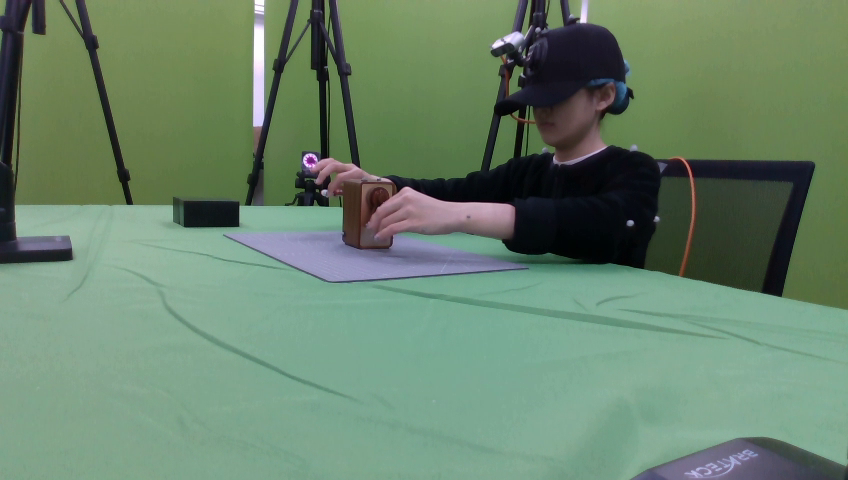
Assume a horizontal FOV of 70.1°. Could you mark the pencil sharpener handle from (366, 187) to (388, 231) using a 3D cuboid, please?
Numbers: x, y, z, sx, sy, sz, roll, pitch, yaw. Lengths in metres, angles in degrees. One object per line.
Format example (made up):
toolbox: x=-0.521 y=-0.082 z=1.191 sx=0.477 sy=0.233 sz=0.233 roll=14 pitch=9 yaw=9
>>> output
pencil sharpener handle: x=-0.068 y=-0.046 z=0.912 sx=0.036 sy=0.067 sz=0.030 roll=17 pitch=0 yaw=-31

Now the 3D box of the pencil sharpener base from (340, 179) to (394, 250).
pencil sharpener base: x=-0.091 y=-0.041 z=0.959 sx=0.061 sy=0.107 sz=0.076 roll=-1 pitch=9 yaw=-30

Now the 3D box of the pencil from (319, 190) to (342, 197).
pencil: x=-0.144 y=-0.079 z=1.048 sx=0.012 sy=0.012 sz=0.193 roll=-1 pitch=6 yaw=-30
